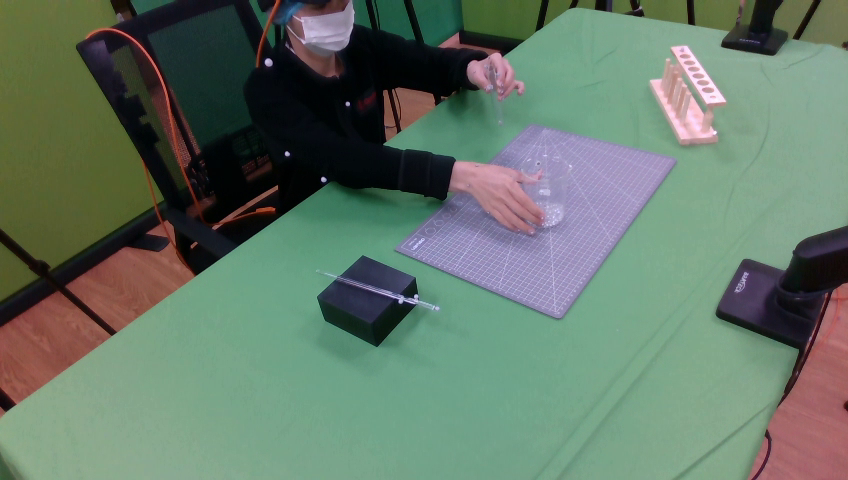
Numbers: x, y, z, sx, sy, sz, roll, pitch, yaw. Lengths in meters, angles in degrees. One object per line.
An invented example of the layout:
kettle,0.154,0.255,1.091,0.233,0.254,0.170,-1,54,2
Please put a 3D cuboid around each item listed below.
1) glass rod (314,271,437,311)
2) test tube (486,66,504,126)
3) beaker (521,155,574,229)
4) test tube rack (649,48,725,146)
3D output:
glass rod,-0.072,0.069,0.837,0.198,0.008,0.008,14,44,24
test tube,0.128,-0.255,1.086,0.017,0.151,0.017,-6,61,11
beaker,0.197,-0.075,0.969,0.084,0.101,0.073,-6,40,2
test tube rack,0.508,-0.285,1.186,0.067,0.085,0.241,-4,40,6
